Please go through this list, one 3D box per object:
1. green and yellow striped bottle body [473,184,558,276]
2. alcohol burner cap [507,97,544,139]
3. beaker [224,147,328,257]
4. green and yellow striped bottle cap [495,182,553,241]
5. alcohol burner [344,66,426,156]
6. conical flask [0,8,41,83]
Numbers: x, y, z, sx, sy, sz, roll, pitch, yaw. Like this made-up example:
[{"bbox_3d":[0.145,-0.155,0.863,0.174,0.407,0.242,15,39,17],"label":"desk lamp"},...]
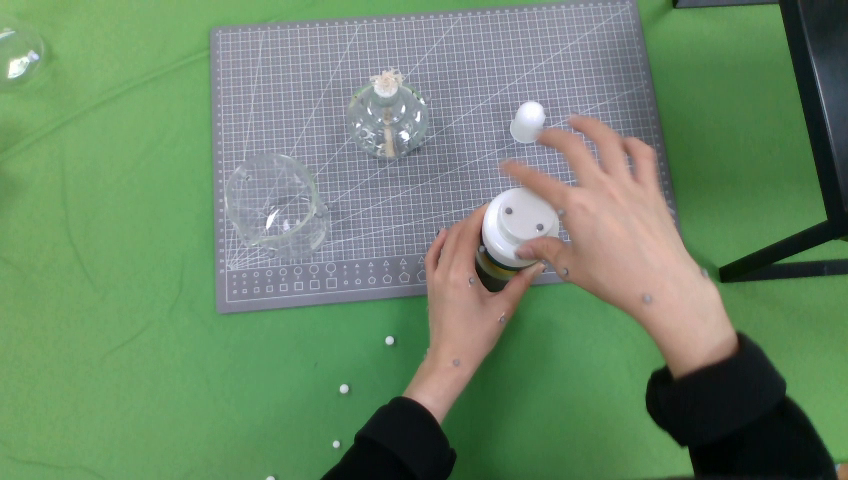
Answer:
[{"bbox_3d":[0.079,-0.009,0.528,0.063,0.120,0.063,0,77,0],"label":"green and yellow striped bottle body"},{"bbox_3d":[0.101,-0.122,0.594,0.034,0.048,0.033,0,77,-1],"label":"alcohol burner cap"},{"bbox_3d":[-0.128,-0.026,0.539,0.074,0.100,0.083,23,78,5],"label":"beaker"},{"bbox_3d":[0.078,-0.023,0.473,0.045,0.020,0.045,0,78,0],"label":"green and yellow striped bottle cap"},{"bbox_3d":[-0.036,-0.123,0.555,0.078,0.119,0.077,1,76,-2],"label":"alcohol burner"},{"bbox_3d":[-0.427,-0.206,0.563,0.075,0.122,0.075,0,77,-1],"label":"conical flask"}]
